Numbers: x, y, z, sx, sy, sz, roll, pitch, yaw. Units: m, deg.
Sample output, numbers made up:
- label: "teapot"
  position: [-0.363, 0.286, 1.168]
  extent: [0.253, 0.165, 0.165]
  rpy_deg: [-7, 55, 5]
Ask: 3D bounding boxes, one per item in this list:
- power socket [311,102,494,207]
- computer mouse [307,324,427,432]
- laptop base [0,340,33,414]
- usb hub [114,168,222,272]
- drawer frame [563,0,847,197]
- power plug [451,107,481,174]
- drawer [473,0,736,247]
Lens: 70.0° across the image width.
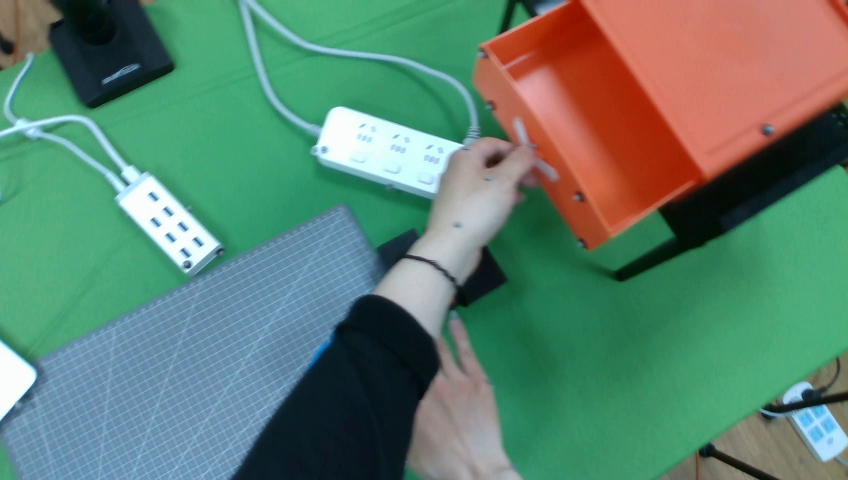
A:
- label: "power socket"
  position: [-0.023, -0.103, 0.730]
  extent: [0.227, 0.033, 0.072]
  rpy_deg: [18, 77, 1]
- label: "computer mouse"
  position: [-0.057, 0.135, 0.600]
  extent: [0.117, 0.041, 0.062]
  rpy_deg: [33, 76, 7]
- label: "laptop base"
  position: [-0.618, 0.209, 0.637]
  extent: [0.235, 0.023, 0.353]
  rpy_deg: [37, 79, 2]
- label: "usb hub"
  position: [-0.296, -0.023, 0.701]
  extent: [0.125, 0.025, 0.049]
  rpy_deg: [45, 80, 6]
- label: "drawer frame"
  position: [0.262, -0.178, 0.554]
  extent: [0.213, 0.083, 0.201]
  rpy_deg: [-30, 81, -10]
- label: "power plug"
  position: [0.058, -0.112, 0.717]
  extent: [0.035, 0.053, 0.072]
  rpy_deg: [29, 76, 4]
- label: "drawer"
  position: [0.181, -0.129, 0.541]
  extent: [0.212, 0.073, 0.193]
  rpy_deg: [-30, 81, -9]
